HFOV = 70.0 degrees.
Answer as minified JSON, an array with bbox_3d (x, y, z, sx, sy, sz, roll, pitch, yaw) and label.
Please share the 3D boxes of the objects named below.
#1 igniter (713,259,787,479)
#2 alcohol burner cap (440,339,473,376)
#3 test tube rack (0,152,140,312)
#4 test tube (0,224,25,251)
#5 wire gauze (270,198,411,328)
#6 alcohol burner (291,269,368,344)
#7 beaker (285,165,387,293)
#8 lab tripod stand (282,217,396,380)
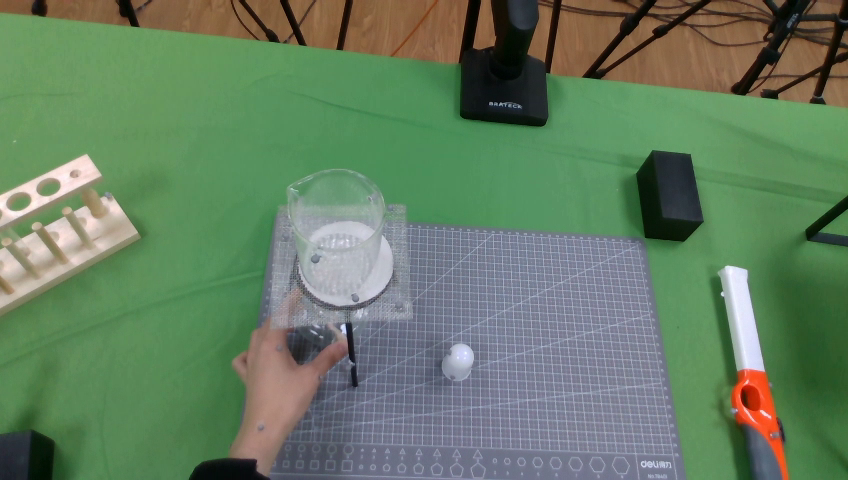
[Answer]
[{"bbox_3d":[0.356,0.148,0.666,0.057,0.025,0.274,11,61,-12],"label":"igniter"},{"bbox_3d":[0.035,0.121,0.631,0.034,0.048,0.033,2,64,-3],"label":"alcohol burner cap"},{"bbox_3d":[-0.428,0.014,0.610,0.242,0.086,0.066,-34,70,-22],"label":"test tube rack"},{"bbox_3d":[-0.420,-0.032,0.580,0.017,0.151,0.017,4,56,-5],"label":"test tube"},{"bbox_3d":[-0.076,0.016,0.547,0.121,0.011,0.124,-2,66,-6],"label":"wire gauze"},{"bbox_3d":[-0.094,0.060,0.607,0.078,0.120,0.077,4,60,-6],"label":"alcohol burner"},{"bbox_3d":[-0.075,-0.005,0.503,0.084,0.101,0.073,26,62,7],"label":"beaker"},{"bbox_3d":[-0.079,0.052,0.602,0.149,0.132,0.147,4,62,-7],"label":"lab tripod stand"}]
